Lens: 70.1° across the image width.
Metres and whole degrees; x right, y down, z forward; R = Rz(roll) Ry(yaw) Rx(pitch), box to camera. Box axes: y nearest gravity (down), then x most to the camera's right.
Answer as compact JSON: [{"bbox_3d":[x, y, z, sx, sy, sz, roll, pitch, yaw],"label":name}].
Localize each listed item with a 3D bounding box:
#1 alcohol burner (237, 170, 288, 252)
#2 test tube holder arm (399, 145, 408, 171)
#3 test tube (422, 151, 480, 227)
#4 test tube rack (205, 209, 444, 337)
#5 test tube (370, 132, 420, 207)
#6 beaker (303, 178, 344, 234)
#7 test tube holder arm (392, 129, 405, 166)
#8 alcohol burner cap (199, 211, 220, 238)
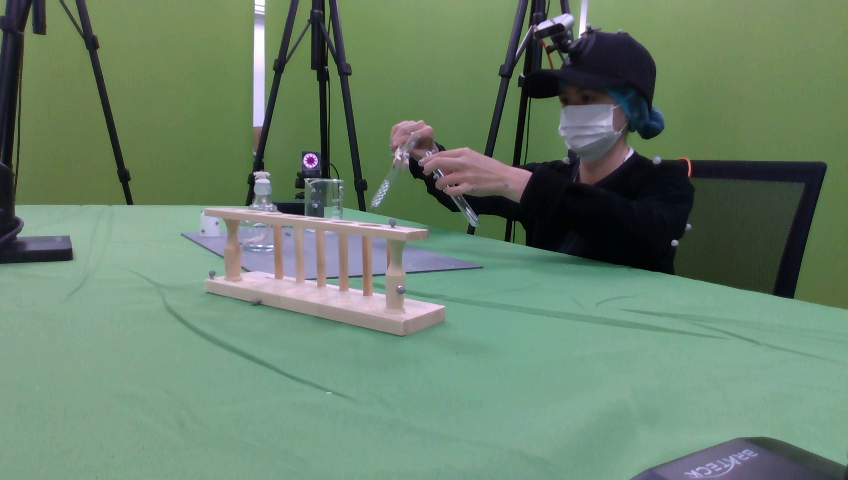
[{"bbox_3d":[-0.236,-0.042,0.882,0.078,0.119,0.078,2,9,0],"label":"alcohol burner"},{"bbox_3d":[-0.038,-0.142,1.033,0.010,0.015,0.087,27,24,-22],"label":"test tube holder arm"},{"bbox_3d":[0.041,-0.080,0.944,0.017,0.150,0.017,-31,-17,-10],"label":"test tube"},{"bbox_3d":[-0.100,0.021,0.565,0.241,0.085,0.067,7,8,32],"label":"test tube rack"},{"bbox_3d":[-0.051,-0.116,1.019,0.017,0.150,0.017,29,21,-12],"label":"test tube"},{"bbox_3d":[-0.189,-0.063,1.119,0.073,0.100,0.084,6,9,28],"label":"beaker"},{"bbox_3d":[-0.044,-0.166,1.071,0.013,0.015,0.178,31,23,-15],"label":"test tube holder arm"},{"bbox_3d":[-0.356,-0.027,1.002,0.034,0.048,0.034,2,7,0],"label":"alcohol burner cap"}]
